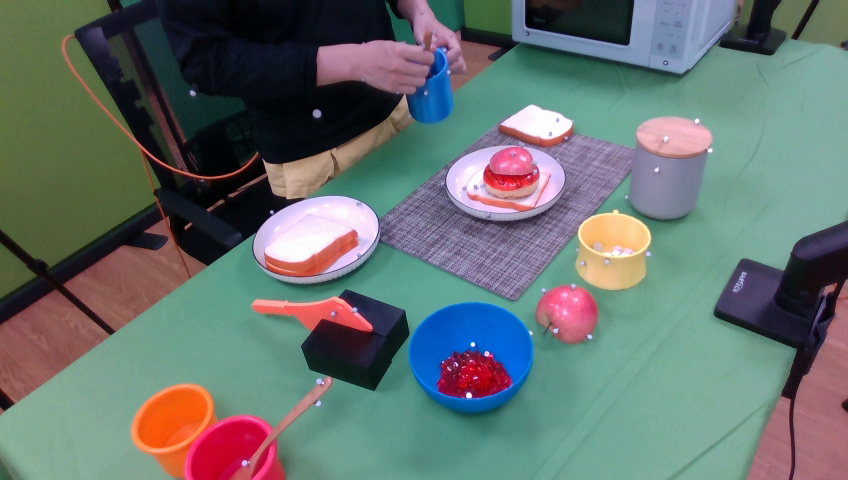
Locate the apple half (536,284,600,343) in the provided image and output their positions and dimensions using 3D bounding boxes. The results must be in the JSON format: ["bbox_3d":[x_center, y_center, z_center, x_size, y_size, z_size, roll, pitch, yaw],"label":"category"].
[{"bbox_3d":[0.196,0.091,0.815,0.075,0.053,0.080,-22,42,-20],"label":"apple half"}]

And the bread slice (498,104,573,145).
[{"bbox_3d":[0.231,-0.231,1.205,0.105,0.019,0.130,-36,47,-29],"label":"bread slice"}]

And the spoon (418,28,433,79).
[{"bbox_3d":[0.003,-0.294,0.993,0.042,0.194,0.021,-8,75,-2],"label":"spoon"}]

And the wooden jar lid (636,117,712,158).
[{"bbox_3d":[0.377,-0.151,0.917,0.108,0.021,0.108,-2,42,3],"label":"wooden jar lid"}]

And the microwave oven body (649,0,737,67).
[{"bbox_3d":[0.475,-0.602,1.411,0.438,0.261,0.327,23,50,32],"label":"microwave oven body"}]

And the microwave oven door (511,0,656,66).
[{"bbox_3d":[0.351,-0.540,1.349,0.353,0.245,0.039,24,50,31],"label":"microwave oven door"}]

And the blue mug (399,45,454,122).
[{"bbox_3d":[0.014,-0.284,1.059,0.082,0.106,0.116,25,67,21],"label":"blue mug"}]

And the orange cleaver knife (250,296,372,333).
[{"bbox_3d":[-0.158,0.103,0.828,0.210,0.078,0.012,-4,43,39],"label":"orange cleaver knife"}]

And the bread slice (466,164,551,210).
[{"bbox_3d":[0.141,-0.093,1.042,0.133,0.018,0.107,10,43,19],"label":"bread slice"}]

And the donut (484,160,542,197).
[{"bbox_3d":[0.149,-0.110,1.016,0.099,0.048,0.098,-4,40,4],"label":"donut"}]

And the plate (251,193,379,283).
[{"bbox_3d":[-0.174,-0.001,0.985,0.209,0.038,0.208,-4,41,4],"label":"plate"}]

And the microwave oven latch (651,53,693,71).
[{"bbox_3d":[0.532,-0.386,1.301,0.078,0.029,0.030,27,52,34],"label":"microwave oven latch"}]

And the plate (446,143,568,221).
[{"bbox_3d":[0.142,-0.097,1.045,0.207,0.039,0.206,-4,40,4],"label":"plate"}]

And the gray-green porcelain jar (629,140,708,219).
[{"bbox_3d":[0.383,-0.105,0.958,0.106,0.127,0.105,-4,41,4],"label":"gray-green porcelain jar"}]

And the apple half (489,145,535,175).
[{"bbox_3d":[0.145,-0.138,0.995,0.081,0.033,0.081,-2,35,2],"label":"apple half"}]

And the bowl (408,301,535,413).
[{"bbox_3d":[0.060,0.156,0.739,0.151,0.077,0.150,-4,40,4],"label":"bowl"}]

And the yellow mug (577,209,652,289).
[{"bbox_3d":[0.279,0.004,0.893,0.099,0.064,0.130,5,42,15],"label":"yellow mug"}]

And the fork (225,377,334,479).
[{"bbox_3d":[-0.163,0.216,0.646,0.207,0.019,0.028,-49,42,16],"label":"fork"}]
